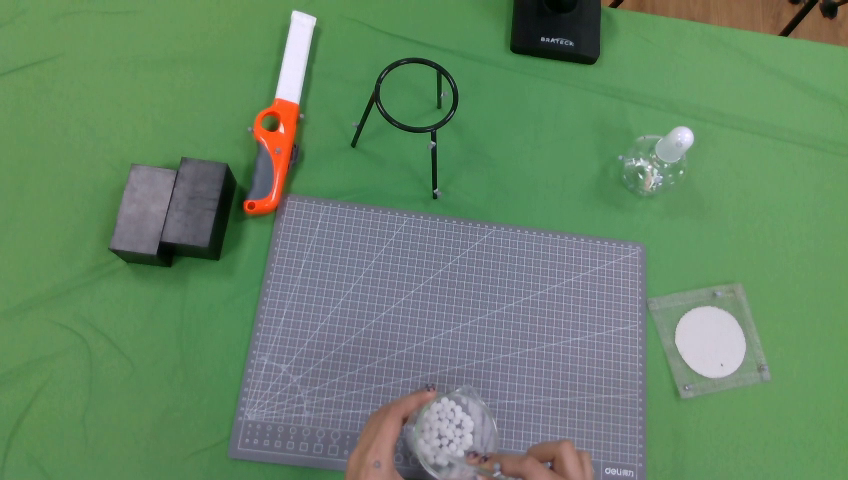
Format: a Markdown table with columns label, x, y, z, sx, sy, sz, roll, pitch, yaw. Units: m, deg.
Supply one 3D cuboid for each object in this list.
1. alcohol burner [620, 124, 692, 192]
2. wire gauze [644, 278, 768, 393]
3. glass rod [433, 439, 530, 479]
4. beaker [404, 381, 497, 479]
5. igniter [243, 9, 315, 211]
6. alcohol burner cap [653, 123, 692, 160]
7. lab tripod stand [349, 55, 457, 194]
| label | x | y | z | sx | sy | sz | roll | pitch | yaw |
| --- | --- | --- | --- | --- | --- | --- | --- | --- | --- |
| alcohol burner | 0.285 | -0.105 | 0.729 | 0.078 | 0.119 | 0.077 | 2 | 71 | -5 |
| wire gauze | 0.339 | 0.112 | 0.724 | 0.125 | 0.011 | 0.120 | -10 | 74 | -6 |
| glass rod | 0.042 | 0.183 | 0.506 | 0.008 | 0.199 | 0.008 | 3 | 79 | -17 |
| beaker | 0.021 | 0.174 | 0.568 | 0.074 | 0.100 | 0.083 | 18 | 74 | -4 |
| igniter | -0.174 | -0.162 | 0.743 | 0.057 | 0.025 | 0.275 | 14 | 71 | -18 |
| alcohol burner cap | 0.288 | -0.115 | 0.695 | 0.034 | 0.048 | 0.033 | 1 | 76 | -2 |
| lab tripod stand | -0.014 | -0.141 | 0.698 | 0.148 | 0.132 | 0.147 | 2 | 71 | -4 |
